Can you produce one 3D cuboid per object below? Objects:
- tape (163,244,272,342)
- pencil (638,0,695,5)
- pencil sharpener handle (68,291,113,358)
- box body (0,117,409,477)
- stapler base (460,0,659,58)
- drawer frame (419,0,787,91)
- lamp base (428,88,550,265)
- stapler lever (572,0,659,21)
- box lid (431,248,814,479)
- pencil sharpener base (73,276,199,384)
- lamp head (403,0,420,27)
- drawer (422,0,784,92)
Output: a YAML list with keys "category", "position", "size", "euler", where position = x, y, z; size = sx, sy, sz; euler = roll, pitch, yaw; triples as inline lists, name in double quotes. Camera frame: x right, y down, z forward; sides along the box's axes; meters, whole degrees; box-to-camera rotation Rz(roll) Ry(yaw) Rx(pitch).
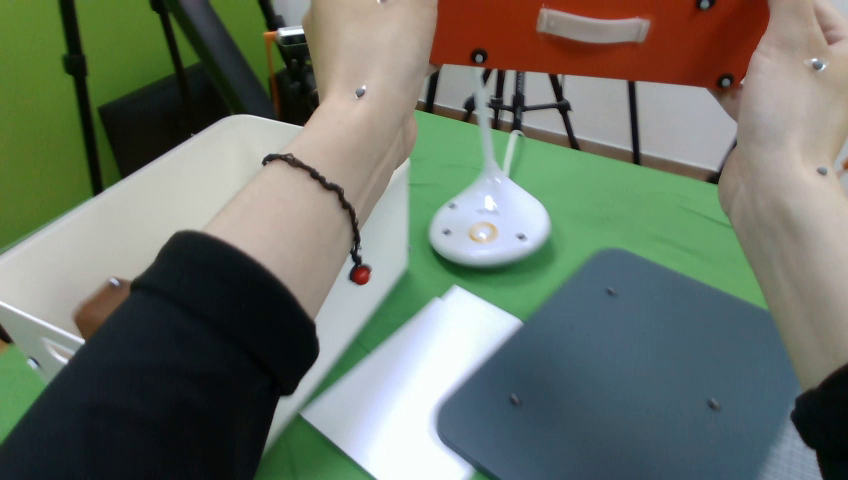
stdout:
- category: "tape"
  position: [-0.232, 0.057, 0.691]
  size: [0.117, 0.053, 0.115]
  euler: [0, 37, 0]
- category: "pencil"
  position: [0.087, -0.179, 0.415]
  size: [0.192, 0.012, 0.012]
  euler: [23, 44, 26]
- category: "pencil sharpener handle"
  position: [-0.332, 0.081, 0.593]
  size: [0.030, 0.068, 0.036]
  euler: [11, 8, 16]
- category: "box body"
  position: [-0.199, 0.033, 0.642]
  size: [0.253, 0.162, 0.362]
  euler: [17, 41, 21]
- category: "stapler base"
  position: [0.091, -0.153, 0.396]
  size: [0.130, 0.024, 0.041]
  euler: [18, 51, 11]
- category: "drawer frame"
  position: [0.104, -0.205, 0.408]
  size: [0.202, 0.083, 0.211]
  euler: [4, 53, 0]
- category: "lamp base"
  position: [0.073, -0.087, 0.765]
  size: [0.160, 0.182, 0.178]
  euler: [-4, 31, 12]
- category: "stapler lever"
  position: [0.090, -0.168, 0.377]
  size: [0.118, 0.040, 0.026]
  euler: [18, 51, 10]
- category: "box lid"
  position: [0.211, 0.141, 0.618]
  size: [0.261, 0.015, 0.371]
  euler: [27, 45, 32]
- category: "pencil sharpener base"
  position: [-0.281, 0.097, 0.595]
  size: [0.076, 0.108, 0.061]
  euler: [11, 40, 16]
- category: "lamp head"
  position: [0.020, -0.275, 0.563]
  size: [0.113, 0.112, 0.122]
  euler: [-15, 81, -17]
- category: "drawer"
  position: [0.104, -0.199, 0.408]
  size: [0.194, 0.074, 0.210]
  euler: [5, 52, 1]
